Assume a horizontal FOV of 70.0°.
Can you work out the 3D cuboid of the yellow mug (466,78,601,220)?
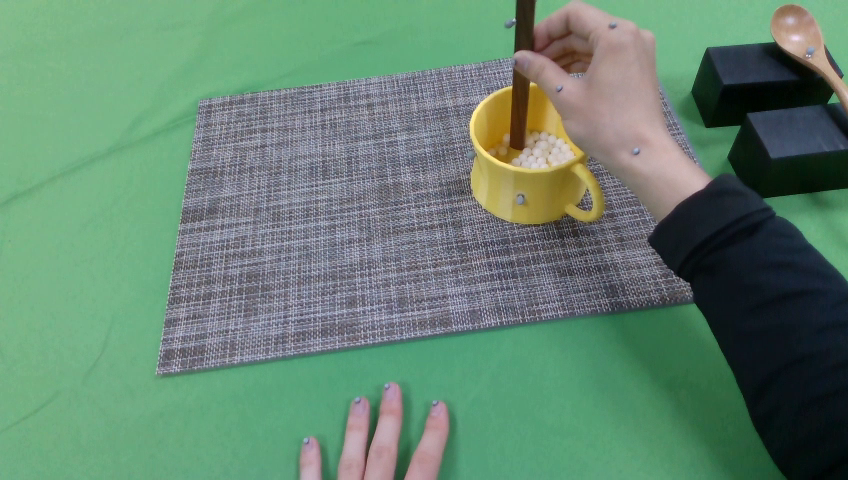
[{"bbox_3d":[0.094,-0.066,0.490,0.100,0.064,0.129,-34,60,-18],"label":"yellow mug"}]

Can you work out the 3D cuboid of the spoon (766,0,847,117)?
[{"bbox_3d":[0.325,-0.125,0.483,0.041,0.022,0.192,-8,57,-1],"label":"spoon"}]

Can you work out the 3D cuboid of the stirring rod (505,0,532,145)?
[{"bbox_3d":[0.071,-0.134,0.459,0.014,0.178,0.006,17,60,15],"label":"stirring rod"}]
